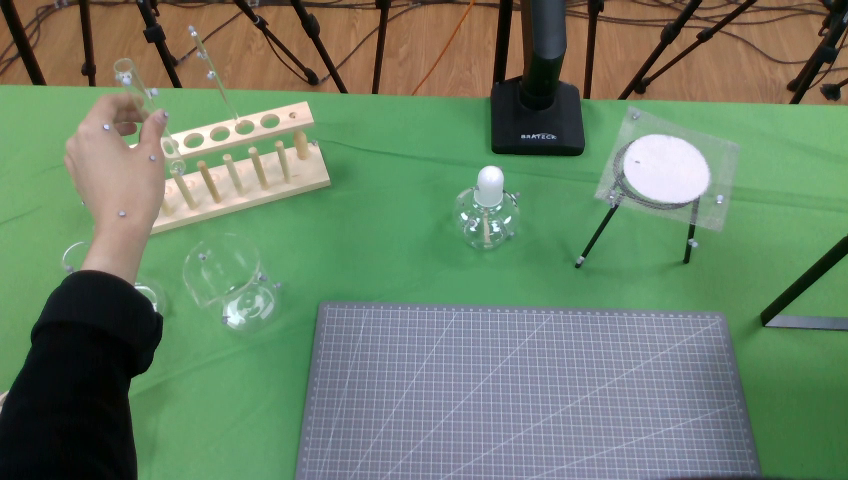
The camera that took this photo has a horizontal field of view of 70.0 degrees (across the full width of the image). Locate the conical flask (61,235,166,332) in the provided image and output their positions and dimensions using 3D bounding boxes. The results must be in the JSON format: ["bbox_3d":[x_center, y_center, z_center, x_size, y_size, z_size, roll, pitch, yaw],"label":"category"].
[{"bbox_3d":[-0.326,0.041,0.628,0.075,0.123,0.074,0,60,1],"label":"conical flask"}]

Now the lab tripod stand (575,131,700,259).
[{"bbox_3d":[0.239,-0.043,0.668,0.148,0.132,0.147,1,59,-1],"label":"lab tripod stand"}]

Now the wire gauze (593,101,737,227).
[{"bbox_3d":[0.246,-0.078,0.610,0.121,0.011,0.124,21,63,10],"label":"wire gauze"}]

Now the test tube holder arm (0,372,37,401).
[{"bbox_3d":[-0.439,0.184,0.550,0.178,0.015,0.013,-38,66,-20],"label":"test tube holder arm"}]

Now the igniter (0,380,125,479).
[{"bbox_3d":[-0.395,0.223,0.524,0.276,0.025,0.057,-38,69,-23],"label":"igniter"}]

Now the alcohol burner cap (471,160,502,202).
[{"bbox_3d":[0.068,-0.066,0.652,0.034,0.048,0.033,0,59,0],"label":"alcohol burner cap"}]

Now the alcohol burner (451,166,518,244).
[{"bbox_3d":[0.070,-0.047,0.682,0.078,0.120,0.077,1,59,-1],"label":"alcohol burner"}]

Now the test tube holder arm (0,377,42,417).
[{"bbox_3d":[-0.402,0.161,0.564,0.088,0.015,0.010,-37,65,-20],"label":"test tube holder arm"}]

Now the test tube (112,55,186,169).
[{"bbox_3d":[-0.237,-0.106,0.532,0.017,0.151,0.017,2,65,-3],"label":"test tube"}]

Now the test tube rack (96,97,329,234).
[{"bbox_3d":[-0.245,-0.088,0.723,0.243,0.086,0.066,-17,61,-9],"label":"test tube rack"}]

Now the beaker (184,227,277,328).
[{"bbox_3d":[-0.200,0.046,0.638,0.074,0.101,0.083,15,62,9],"label":"beaker"}]

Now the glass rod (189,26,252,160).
[{"bbox_3d":[-0.221,-0.152,0.683,0.008,0.201,0.008,-3,54,5],"label":"glass rod"}]
